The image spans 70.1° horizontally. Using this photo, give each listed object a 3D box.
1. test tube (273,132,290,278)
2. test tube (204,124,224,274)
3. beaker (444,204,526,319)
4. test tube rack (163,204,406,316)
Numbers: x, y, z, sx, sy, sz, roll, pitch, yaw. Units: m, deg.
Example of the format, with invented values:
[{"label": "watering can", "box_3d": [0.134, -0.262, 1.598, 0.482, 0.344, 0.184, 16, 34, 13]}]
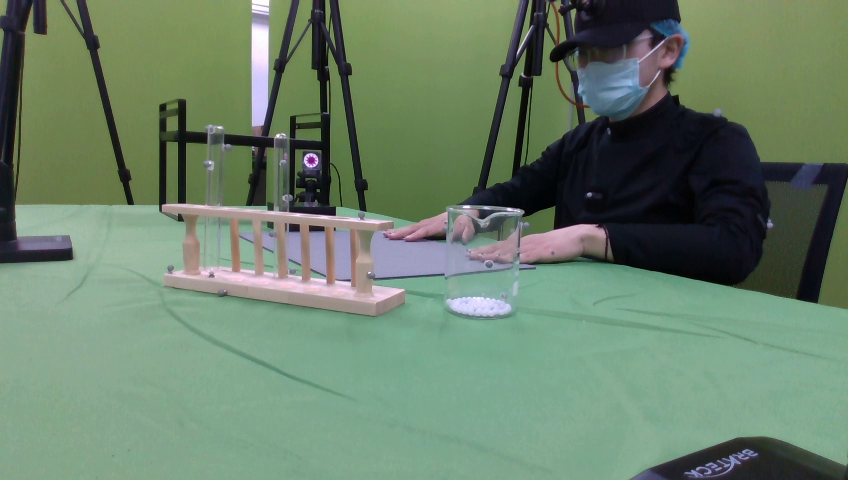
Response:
[{"label": "test tube", "box_3d": [-0.146, -0.034, 0.617, 0.017, 0.150, 0.017, 2, 8, 0]}, {"label": "test tube", "box_3d": [-0.210, -0.039, 0.604, 0.017, 0.150, 0.017, 5, 11, -1]}, {"label": "beaker", "box_3d": [0.055, 0.019, 0.563, 0.074, 0.100, 0.084, 3, 8, 8]}, {"label": "test tube rack", "box_3d": [-0.141, 0.013, 0.601, 0.241, 0.085, 0.067, 5, 8, 21]}]
